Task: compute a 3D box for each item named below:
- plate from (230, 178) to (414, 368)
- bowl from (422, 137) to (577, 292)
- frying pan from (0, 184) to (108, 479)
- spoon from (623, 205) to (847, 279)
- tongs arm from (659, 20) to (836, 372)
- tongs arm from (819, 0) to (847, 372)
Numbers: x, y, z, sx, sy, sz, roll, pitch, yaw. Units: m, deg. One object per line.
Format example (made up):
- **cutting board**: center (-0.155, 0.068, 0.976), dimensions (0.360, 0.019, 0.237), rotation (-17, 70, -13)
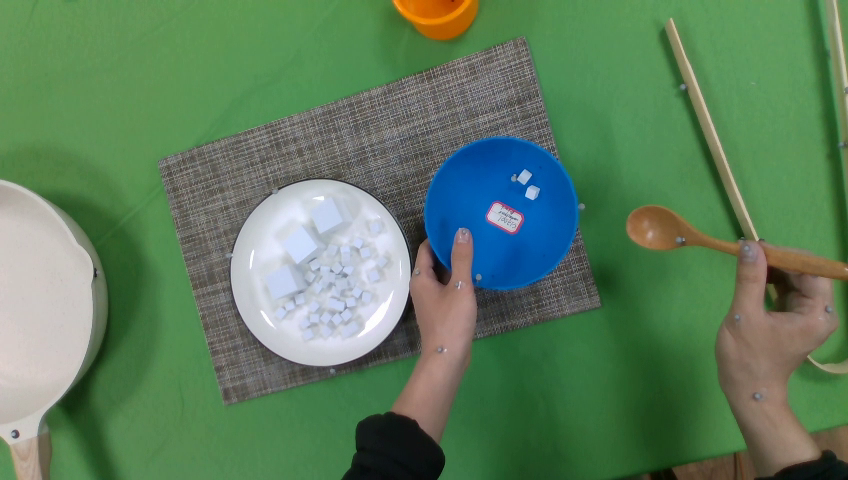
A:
- **plate**: center (-0.111, 0.036, 0.673), dimensions (0.207, 0.039, 0.207), rotation (0, 91, 10)
- **bowl**: center (0.077, -0.024, 0.621), dimensions (0.151, 0.077, 0.151), rotation (0, 91, 9)
- **frying pan**: center (-0.477, 0.176, 0.705), dimensions (0.306, 0.103, 0.485), rotation (-19, 80, 10)
- **spoon**: center (0.239, 0.005, 0.483), dimensions (0.022, 0.192, 0.042), rotation (-14, 110, -25)
- **tongs arm**: center (0.320, -0.045, 0.612), dimensions (0.028, 0.028, 0.387), rotation (-23, 88, 6)
- **tongs arm**: center (0.397, -0.064, 0.596), dimensions (0.050, 0.026, 0.384), rotation (-9, 91, 10)
